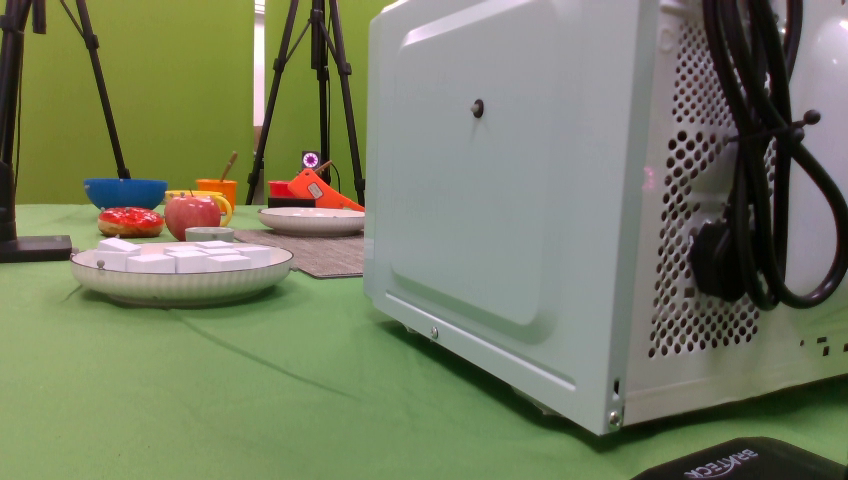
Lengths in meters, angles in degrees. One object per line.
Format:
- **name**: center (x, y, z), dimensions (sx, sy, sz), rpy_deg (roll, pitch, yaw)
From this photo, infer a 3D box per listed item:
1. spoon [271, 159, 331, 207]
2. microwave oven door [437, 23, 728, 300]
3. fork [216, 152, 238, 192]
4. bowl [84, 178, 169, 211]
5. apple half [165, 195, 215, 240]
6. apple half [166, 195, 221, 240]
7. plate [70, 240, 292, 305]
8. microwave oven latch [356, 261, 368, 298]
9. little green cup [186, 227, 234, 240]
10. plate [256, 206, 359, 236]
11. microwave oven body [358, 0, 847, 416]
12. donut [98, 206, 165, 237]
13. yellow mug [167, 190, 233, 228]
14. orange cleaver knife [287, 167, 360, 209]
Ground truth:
- **spoon**: center (-0.307, -0.141, 1.514), dimensions (0.193, 0.021, 0.041), rpy_deg (-41, 4, 8)
- **microwave oven door**: center (0.181, -0.072, 0.621), dimensions (0.358, 0.243, 0.039), rpy_deg (-2, 8, -29)
- **fork**: center (-0.455, -0.132, 1.366), dimensions (0.028, 0.018, 0.207), rpy_deg (-2, -35, -37)
- **bowl**: center (-0.584, -0.078, 1.194), dimensions (0.151, 0.077, 0.151), rpy_deg (3, 8, 0)
- **apple half**: center (-0.377, -0.038, 0.964), dimensions (0.082, 0.081, 0.032), rpy_deg (-4, 14, -39)
- **apple half**: center (-0.352, -0.031, 0.935), dimensions (0.081, 0.074, 0.053), rpy_deg (1, 11, -40)
- **plate**: center (-0.242, 0.031, 0.618), dimensions (0.208, 0.039, 0.207), rpy_deg (2, 8, 0)
- **microwave oven latch**: center (-0.019, 0.033, 0.530), dimensions (0.079, 0.029, 0.030), rpy_deg (-1, 7, -26)
- **little green cup**: center (-0.284, 0.005, 0.805), dimensions (0.061, 0.038, 0.061), rpy_deg (2, 8, 0)
- **plate**: center (-0.202, -0.037, 1.120), dimensions (0.209, 0.038, 0.209), rpy_deg (2, 8, 0)
- **microwave oven body**: center (0.211, -0.047, 0.474), dimensions (0.444, 0.260, 0.324), rpy_deg (-1, 8, -28)
- **donut**: center (-0.472, -0.028, 0.979), dimensions (0.099, 0.048, 0.099), rpy_deg (5, 8, 0)
- **yellow mug**: center (-0.415, -0.057, 1.132), dimensions (0.130, 0.064, 0.100), rpy_deg (6, 8, 16)
- **orange cleaver knife**: center (-0.209, -0.089, 1.383), dimensions (0.212, 0.077, 0.012), rpy_deg (31, 3, -15)
